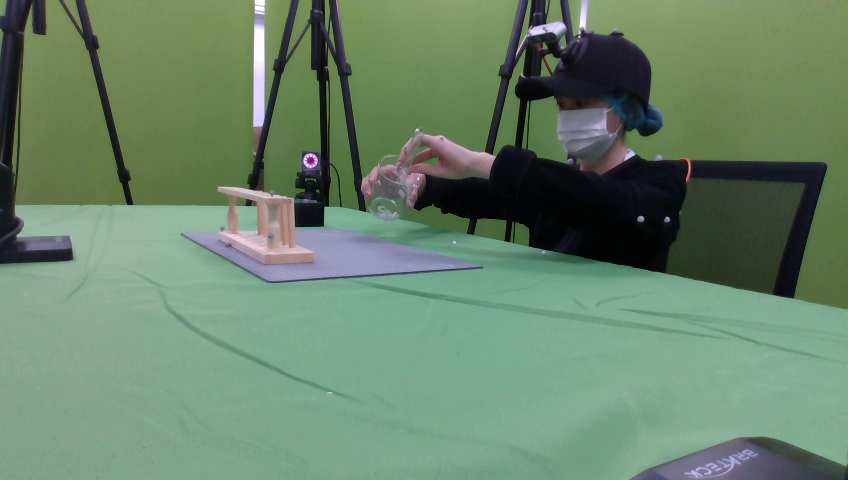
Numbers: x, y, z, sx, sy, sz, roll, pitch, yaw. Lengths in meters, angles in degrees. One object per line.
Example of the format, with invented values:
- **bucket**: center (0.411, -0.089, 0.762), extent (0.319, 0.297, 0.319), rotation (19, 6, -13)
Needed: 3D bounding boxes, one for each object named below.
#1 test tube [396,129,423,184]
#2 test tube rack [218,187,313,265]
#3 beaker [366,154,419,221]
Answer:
- **test tube**: center (-0.024, -0.133, 0.971), extent (0.017, 0.017, 0.150), rotation (1, -24, -14)
- **test tube rack**: center (-0.235, -0.027, 0.872), extent (0.067, 0.085, 0.241), rotation (-2, 8, -32)
- **beaker**: center (-0.057, -0.087, 1.066), extent (0.084, 0.100, 0.074), rotation (38, 45, 13)
